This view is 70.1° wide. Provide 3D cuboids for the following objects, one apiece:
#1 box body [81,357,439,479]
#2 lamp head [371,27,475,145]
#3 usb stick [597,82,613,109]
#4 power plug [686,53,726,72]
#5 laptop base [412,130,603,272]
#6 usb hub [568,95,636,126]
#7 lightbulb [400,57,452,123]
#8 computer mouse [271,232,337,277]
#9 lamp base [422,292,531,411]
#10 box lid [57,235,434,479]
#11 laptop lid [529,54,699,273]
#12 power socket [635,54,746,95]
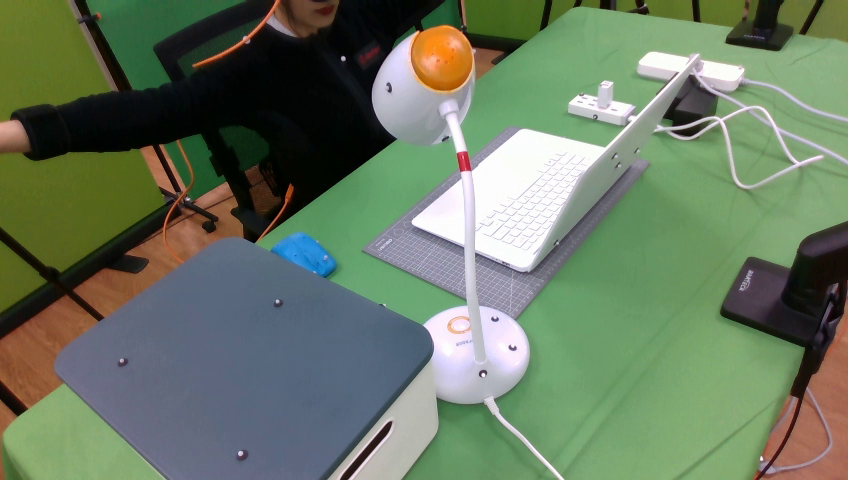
[{"bbox_3d":[-0.189,0.178,0.702,0.361,0.161,0.255,22,49,32],"label":"box body"},{"bbox_3d":[0.007,-0.167,0.644,0.113,0.112,0.122,-22,2,-14],"label":"lamp head"},{"bbox_3d":[0.360,-0.281,1.204,0.021,0.059,0.027,23,49,33],"label":"usb stick"},{"bbox_3d":[0.584,-0.361,1.260,0.072,0.053,0.035,14,55,16],"label":"power plug"},{"bbox_3d":[0.176,-0.083,1.055,0.233,0.023,0.355,21,48,36],"label":"laptop base"},{"bbox_3d":[0.360,-0.263,1.228,0.124,0.025,0.049,24,49,33],"label":"usb hub"},{"bbox_3d":[0.003,-0.169,0.668,0.059,0.108,0.059,0,79,-1],"label":"lightbulb"},{"bbox_3d":[-0.197,0.026,0.983,0.063,0.041,0.116,-33,49,-28],"label":"computer mouse"},{"bbox_3d":[0.054,0.095,0.740,0.161,0.181,0.177,-19,43,-11],"label":"lamp base"},{"bbox_3d":[-0.198,0.123,0.653,0.368,0.015,0.264,22,49,32],"label":"box lid"},{"bbox_3d":[0.283,-0.114,0.897,0.013,0.242,0.358,38,55,17],"label":"laptop lid"},{"bbox_3d":[0.564,-0.357,1.293,0.225,0.033,0.072,24,51,33],"label":"power socket"}]
